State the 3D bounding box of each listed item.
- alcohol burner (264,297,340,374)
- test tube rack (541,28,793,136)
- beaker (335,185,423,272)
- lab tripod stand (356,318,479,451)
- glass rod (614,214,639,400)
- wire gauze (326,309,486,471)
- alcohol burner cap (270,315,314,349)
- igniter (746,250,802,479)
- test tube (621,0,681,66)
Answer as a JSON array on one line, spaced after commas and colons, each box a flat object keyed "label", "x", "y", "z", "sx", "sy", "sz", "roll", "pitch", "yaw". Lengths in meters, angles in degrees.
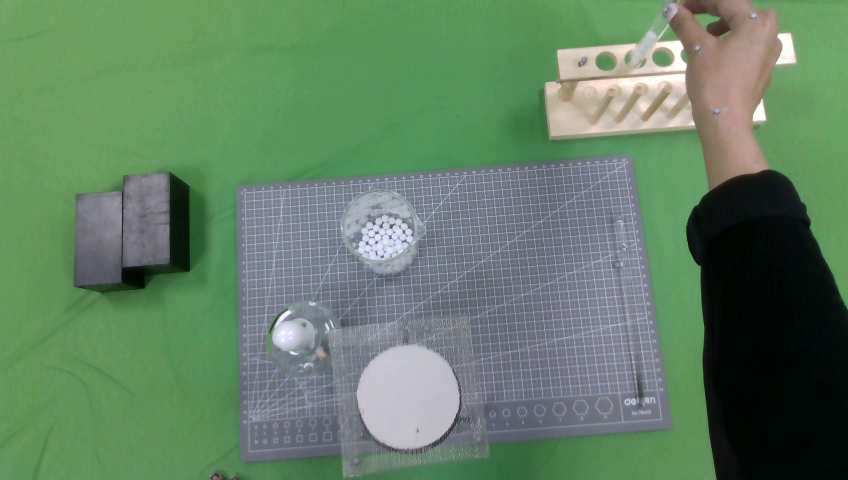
[{"label": "alcohol burner", "x": -0.124, "y": 0.093, "z": 0.600, "sx": 0.078, "sy": 0.119, "sz": 0.077, "roll": 0, "pitch": 77, "yaw": 2}, {"label": "test tube rack", "x": 0.258, "y": -0.169, "z": 0.660, "sx": 0.242, "sy": 0.085, "sz": 0.066, "roll": -4, "pitch": 79, "yaw": 0}, {"label": "beaker", "x": -0.042, "y": -0.007, "z": 0.625, "sx": 0.084, "sy": 0.100, "sz": 0.073, "roll": 4, "pitch": 79, "yaw": 2}, {"label": "lab tripod stand", "x": -0.014, "y": 0.142, "z": 0.579, "sx": 0.148, "sy": 0.132, "sz": 0.147, "roll": -1, "pitch": 78, "yaw": 3}, {"label": "glass rod", "x": 0.218, "y": 0.070, "z": 0.652, "sx": 0.008, "sy": 0.008, "sz": 0.199, "roll": -4, "pitch": 82, "yaw": 0}, {"label": "wire gauze", "x": -0.017, "y": 0.125, "z": 0.514, "sx": 0.125, "sy": 0.011, "sz": 0.121, "roll": -8, "pitch": 78, "yaw": 0}, {"label": "alcohol burner cap", "x": -0.125, "y": 0.087, "z": 0.565, "sx": 0.034, "sy": 0.048, "sz": 0.034, "roll": -1, "pitch": 83, "yaw": 7}, {"label": "igniter", "x": 0.360, "y": 0.147, "z": 0.629, "sx": 0.057, "sy": 0.025, "sz": 0.275, "roll": 5, "pitch": 80, "yaw": -8}, {"label": "test tube", "x": 0.213, "y": -0.200, "z": 0.567, "sx": 0.017, "sy": 0.150, "sz": 0.017, "roll": 0, "pitch": 80, "yaw": 0}]
